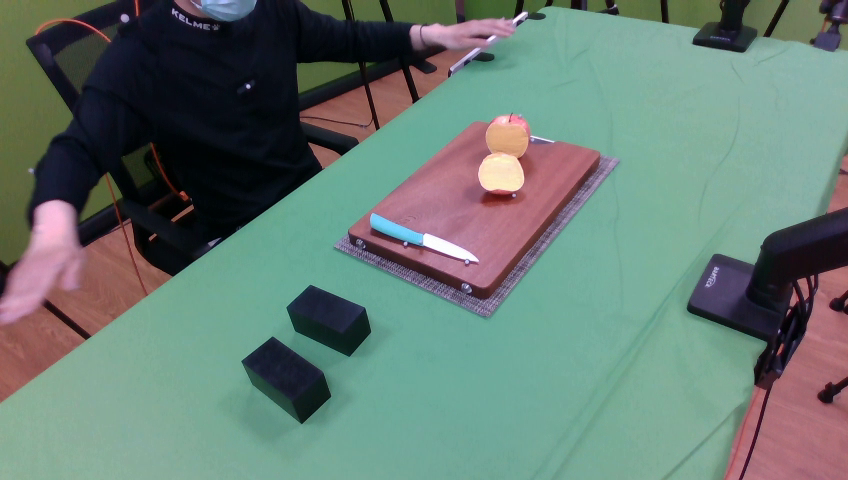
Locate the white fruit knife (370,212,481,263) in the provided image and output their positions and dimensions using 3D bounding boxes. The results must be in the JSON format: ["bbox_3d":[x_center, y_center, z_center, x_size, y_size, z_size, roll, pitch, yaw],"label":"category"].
[{"bbox_3d":[-0.003,-0.002,0.930,0.206,0.016,0.027,20,62,26],"label":"white fruit knife"}]

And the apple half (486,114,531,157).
[{"bbox_3d":[0.154,-0.190,1.084,0.080,0.075,0.053,5,38,20],"label":"apple half"}]

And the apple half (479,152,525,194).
[{"bbox_3d":[0.131,-0.108,1.016,0.081,0.033,0.081,0,66,1],"label":"apple half"}]
